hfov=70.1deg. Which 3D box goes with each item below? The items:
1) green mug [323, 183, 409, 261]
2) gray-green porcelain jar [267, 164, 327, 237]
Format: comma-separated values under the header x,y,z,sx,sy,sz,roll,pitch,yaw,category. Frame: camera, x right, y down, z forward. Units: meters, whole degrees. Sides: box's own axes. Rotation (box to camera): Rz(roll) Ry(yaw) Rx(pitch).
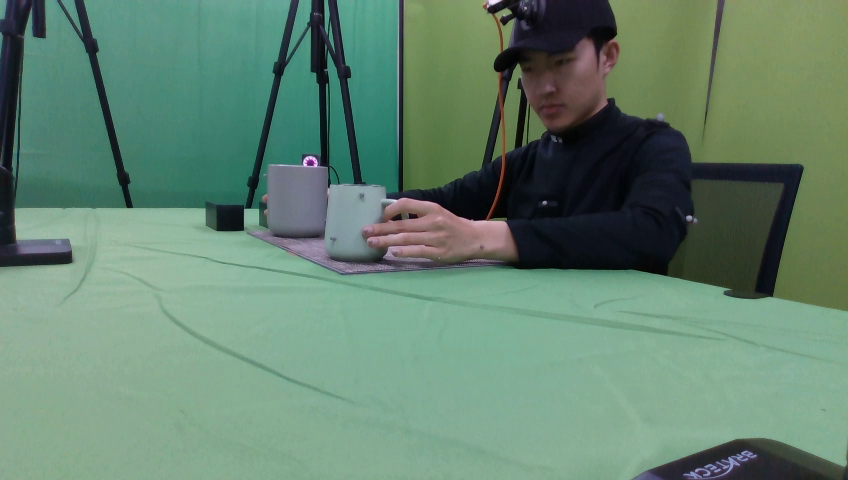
x,y,z,sx,sy,sz,roll,pitch,yaw,category
-0.080,-0.026,0.851,0.125,0.105,0.093,5,7,20,green mug
-0.228,-0.072,1.086,0.106,0.126,0.106,2,7,0,gray-green porcelain jar
